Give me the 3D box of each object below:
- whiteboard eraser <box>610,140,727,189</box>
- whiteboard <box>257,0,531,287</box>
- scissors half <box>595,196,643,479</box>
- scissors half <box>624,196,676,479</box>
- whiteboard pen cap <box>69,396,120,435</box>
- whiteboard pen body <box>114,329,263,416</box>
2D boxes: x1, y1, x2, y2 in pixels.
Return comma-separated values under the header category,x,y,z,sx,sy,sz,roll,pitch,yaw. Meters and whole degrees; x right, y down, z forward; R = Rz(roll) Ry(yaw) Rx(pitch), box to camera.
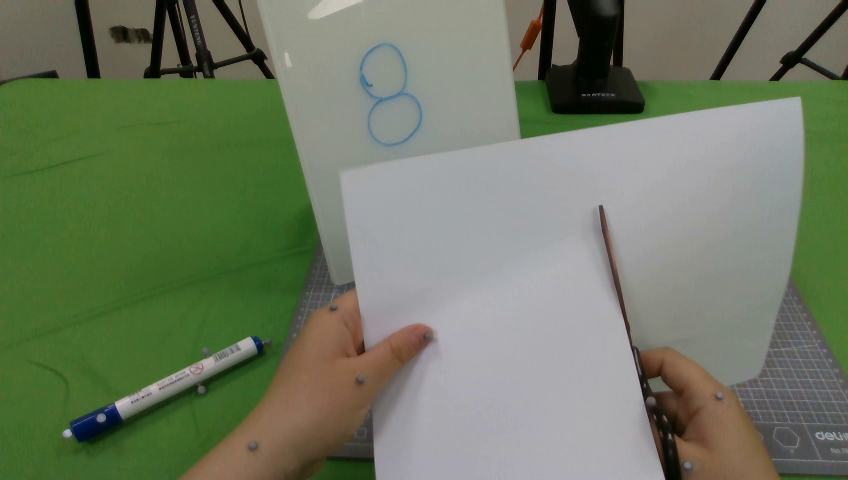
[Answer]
category,x,y,z,sx,sy,sz,roll,pitch,yaw
whiteboard eraser,0.267,-0.083,0.666,0.113,0.042,0.055,0,43,0
whiteboard,-0.038,-0.147,0.594,0.217,0.307,0.142,-18,23,-17
scissors half,0.122,0.061,0.371,0.013,0.175,0.040,3,5,-15
scissors half,0.126,0.058,0.351,0.013,0.040,0.174,2,75,-9
whiteboard pen cap,-0.240,0.128,0.445,0.033,0.018,0.018,-26,46,-27
whiteboard pen body,-0.192,0.106,0.471,0.141,0.017,0.017,-26,46,-27
